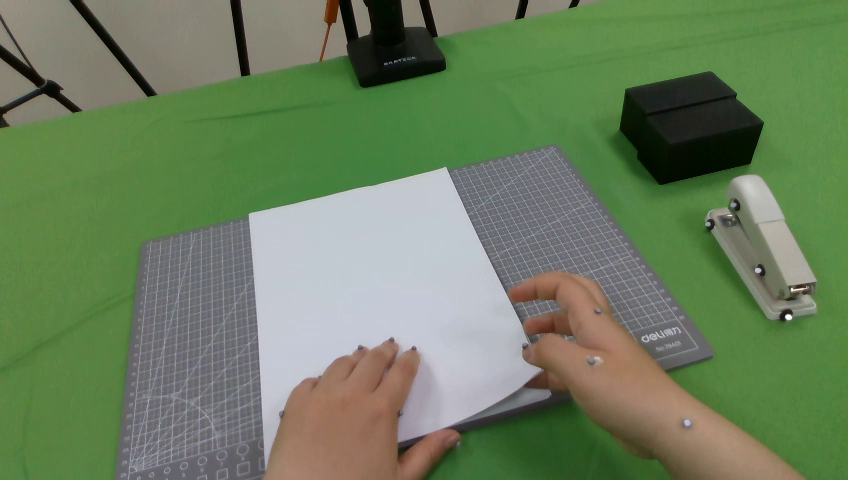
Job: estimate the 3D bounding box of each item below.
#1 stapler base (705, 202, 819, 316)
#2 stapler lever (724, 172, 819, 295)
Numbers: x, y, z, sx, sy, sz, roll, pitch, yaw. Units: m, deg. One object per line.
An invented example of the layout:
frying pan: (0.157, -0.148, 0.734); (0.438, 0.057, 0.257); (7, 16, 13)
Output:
stapler base: (0.287, 0.007, 0.519); (0.041, 0.025, 0.129); (-10, 46, 1)
stapler lever: (0.285, -0.010, 0.500); (0.027, 0.040, 0.117); (-10, 46, 1)
